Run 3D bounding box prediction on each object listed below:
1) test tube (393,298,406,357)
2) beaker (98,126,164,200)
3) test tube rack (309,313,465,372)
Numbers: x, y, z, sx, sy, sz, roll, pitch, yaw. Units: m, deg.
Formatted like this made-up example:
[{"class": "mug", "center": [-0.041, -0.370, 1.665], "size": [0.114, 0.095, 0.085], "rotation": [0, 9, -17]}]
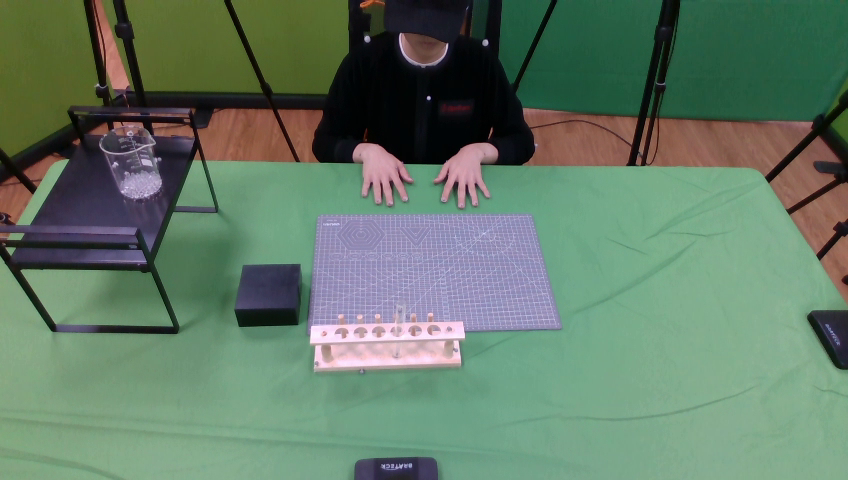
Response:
[{"class": "test tube", "center": [-0.039, 0.139, 0.943], "size": [0.017, 0.151, 0.017], "rotation": [3, 49, -3]}, {"class": "beaker", "center": [-0.464, -0.122, 0.977], "size": [0.084, 0.101, 0.073], "rotation": [0, 46, -5]}, {"class": "test tube rack", "center": [-0.059, 0.161, 0.990], "size": [0.242, 0.085, 0.066], "rotation": [-1, 46, -5]}]
